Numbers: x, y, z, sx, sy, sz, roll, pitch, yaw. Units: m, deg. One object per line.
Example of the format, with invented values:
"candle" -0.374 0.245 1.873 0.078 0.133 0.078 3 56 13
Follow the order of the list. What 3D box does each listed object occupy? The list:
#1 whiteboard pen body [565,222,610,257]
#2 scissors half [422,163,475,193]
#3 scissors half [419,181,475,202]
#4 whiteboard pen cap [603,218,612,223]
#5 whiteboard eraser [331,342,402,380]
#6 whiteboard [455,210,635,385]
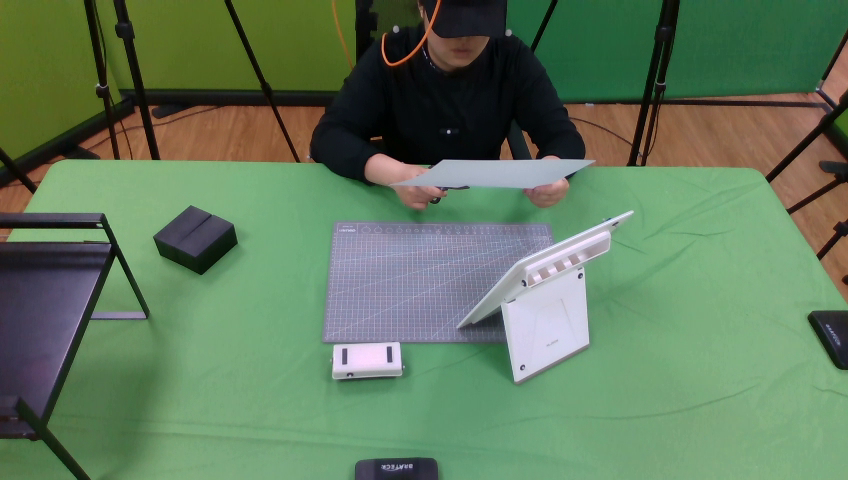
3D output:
"whiteboard pen body" 0.335 -0.004 1.228 0.141 0.017 0.017 -33 56 -29
"scissors half" 0.047 -0.116 1.174 0.013 0.040 0.174 7 16 -36
"scissors half" 0.043 -0.096 1.177 0.013 0.040 0.174 0 0 -34
"whiteboard pen cap" 0.379 -0.031 1.255 0.033 0.018 0.018 -33 56 -30
"whiteboard eraser" -0.094 0.198 0.986 0.113 0.042 0.055 -2 44 -6
"whiteboard" 0.211 0.111 0.955 0.217 0.306 0.143 -21 71 -23
